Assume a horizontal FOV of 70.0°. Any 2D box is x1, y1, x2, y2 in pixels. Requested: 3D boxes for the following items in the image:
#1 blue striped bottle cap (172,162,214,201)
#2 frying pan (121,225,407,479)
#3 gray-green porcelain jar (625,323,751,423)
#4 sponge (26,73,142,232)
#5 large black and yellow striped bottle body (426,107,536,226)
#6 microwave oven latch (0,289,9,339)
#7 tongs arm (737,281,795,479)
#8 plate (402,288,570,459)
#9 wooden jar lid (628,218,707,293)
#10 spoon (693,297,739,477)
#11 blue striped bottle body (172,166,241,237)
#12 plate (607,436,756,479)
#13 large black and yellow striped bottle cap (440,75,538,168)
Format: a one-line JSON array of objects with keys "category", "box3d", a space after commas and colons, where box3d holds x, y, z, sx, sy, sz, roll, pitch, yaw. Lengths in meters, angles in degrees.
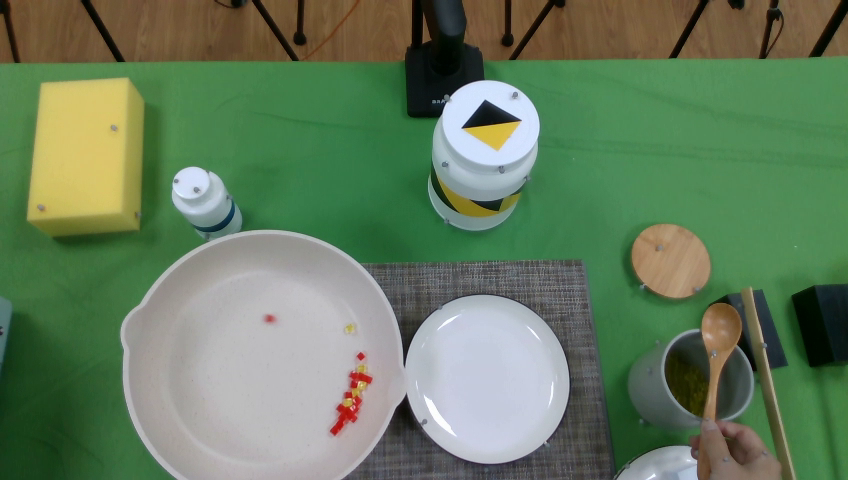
[{"category": "blue striped bottle cap", "box3d": [-0.278, -0.071, 0.727, 0.044, 0.021, 0.044, 1, 72, -3]}, {"category": "frying pan", "box3d": [-0.185, 0.220, 0.628, 0.308, 0.103, 0.484, 17, 60, -16]}, {"category": "gray-green porcelain jar", "box3d": [0.308, 0.164, 0.729, 0.106, 0.127, 0.105, 1, 70, -2]}, {"category": "sponge", "box3d": [-0.455, -0.120, 0.821, 0.118, 0.061, 0.205, -6, 72, -6]}, {"category": "large black and yellow striped bottle body", "box3d": [0.071, -0.109, 0.783, 0.131, 0.185, 0.130, 1, 70, -3]}, {"category": "microwave oven latch", "box3d": [-0.527, 0.097, 0.732, 0.030, 0.029, 0.078, 2, 71, -3]}, {"category": "tongs arm", "box3d": [0.443, 0.237, 0.729, 0.051, 0.026, 0.383, -6, 81, -8]}, {"category": "plate", "box3d": [0.075, 0.164, 0.759, 0.209, 0.038, 0.207, 1, 70, -2]}, {"category": "wooden jar lid", "box3d": [0.335, 0.022, 0.838, 0.108, 0.021, 0.107, 1, 72, -2]}, {"category": "spoon", "box3d": [0.308, 0.156, 0.655, 0.041, 0.022, 0.193, 7, 70, 29]}, {"category": "blue striped bottle body", "box3d": [-0.279, -0.052, 0.775, 0.063, 0.121, 0.062, 1, 70, -2]}, {"category": "plate", "box3d": [0.305, 0.339, 0.714, 0.208, 0.039, 0.206, 1, 70, -2]}, {"category": "large black and yellow striped bottle cap", "box3d": [0.075, -0.139, 0.704, 0.115, 0.019, 0.114, 1, 72, -3]}]
